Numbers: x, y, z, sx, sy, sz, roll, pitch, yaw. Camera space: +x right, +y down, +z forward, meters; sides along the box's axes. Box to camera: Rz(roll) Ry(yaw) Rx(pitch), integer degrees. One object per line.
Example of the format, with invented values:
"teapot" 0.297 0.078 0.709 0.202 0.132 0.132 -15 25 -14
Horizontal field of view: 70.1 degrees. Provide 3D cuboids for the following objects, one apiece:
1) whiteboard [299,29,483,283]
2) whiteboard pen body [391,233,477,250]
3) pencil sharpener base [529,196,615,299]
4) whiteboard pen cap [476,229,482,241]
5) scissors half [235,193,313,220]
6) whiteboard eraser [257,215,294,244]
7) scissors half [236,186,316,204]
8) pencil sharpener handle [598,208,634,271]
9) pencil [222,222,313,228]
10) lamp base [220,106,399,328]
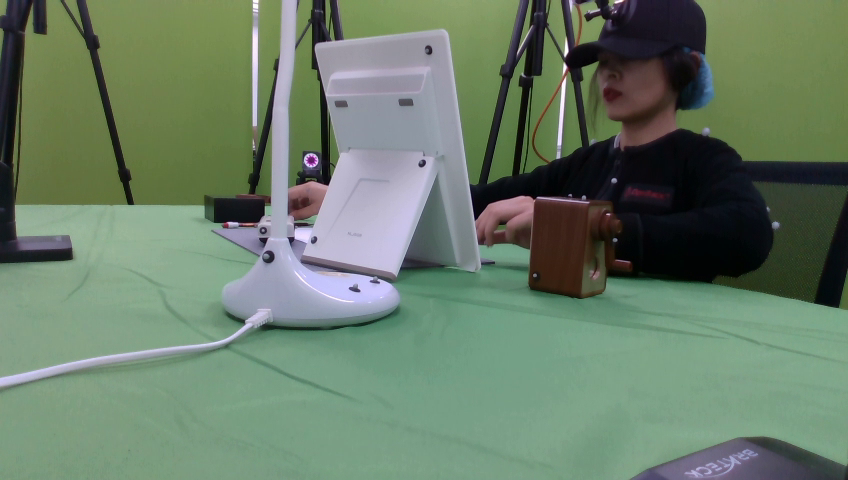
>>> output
"whiteboard" -0.074 -0.082 0.742 0.216 0.305 0.144 9 30 38
"whiteboard pen body" 0.014 0.001 0.894 0.140 0.017 0.017 -6 3 27
"pencil sharpener base" 0.167 0.007 0.678 0.076 0.107 0.062 10 10 42
"whiteboard pen cap" 0.066 -0.005 0.868 0.033 0.018 0.018 -10 2 24
"scissors half" -0.325 -0.077 1.319 0.176 0.040 0.012 17 6 -31
"whiteboard eraser" -0.232 -0.016 0.951 0.056 0.042 0.112 1 7 -12
"scissors half" -0.320 -0.097 1.316 0.176 0.040 0.013 -3 11 -29
"pencil sharpener handle" 0.208 0.000 0.645 0.030 0.068 0.036 10 23 42
"pencil" -0.302 -0.030 1.189 0.195 0.012 0.012 -2 9 -41
"lamp base" -0.101 -0.023 0.531 0.160 0.180 0.179 4 10 10
